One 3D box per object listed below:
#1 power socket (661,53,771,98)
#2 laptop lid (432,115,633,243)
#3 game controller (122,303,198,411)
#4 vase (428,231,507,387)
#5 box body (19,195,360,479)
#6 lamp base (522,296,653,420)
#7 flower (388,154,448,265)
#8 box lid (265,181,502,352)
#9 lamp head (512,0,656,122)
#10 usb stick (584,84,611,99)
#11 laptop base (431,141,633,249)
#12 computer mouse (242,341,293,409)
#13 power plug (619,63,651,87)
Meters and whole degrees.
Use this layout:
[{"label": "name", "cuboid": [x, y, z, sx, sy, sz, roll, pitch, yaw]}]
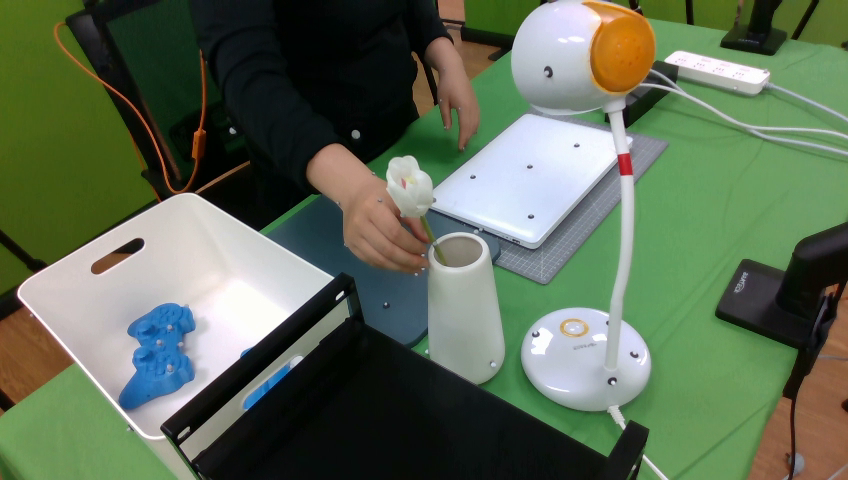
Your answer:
[{"label": "power socket", "cuboid": [0.618, -0.355, 1.291, 0.225, 0.033, 0.072, 29, 53, 35]}, {"label": "laptop lid", "cuboid": [0.190, -0.126, 1.081, 0.239, 0.013, 0.358, 23, 49, 34]}, {"label": "game controller", "cuboid": [-0.363, 0.150, 0.828, 0.097, 0.052, 0.154, -14, 42, -9]}, {"label": "vase", "cuboid": [0.051, 0.087, 0.727, 0.098, 0.201, 0.097, -3, 40, 3]}, {"label": "box body", "cuboid": [-0.287, 0.118, 0.771, 0.361, 0.161, 0.255, 26, 50, 33]}, {"label": "lamp base", "cuboid": [0.201, 0.095, 0.709, 0.161, 0.181, 0.178, -16, 43, -10]}, {"label": "flower", "cuboid": [0.026, 0.036, 0.664, 0.043, 0.364, 0.038, 36, 72, 32]}, {"label": "box lid", "cuboid": [-0.086, 0.023, 0.970, 0.368, 0.015, 0.264, 23, 50, 31]}, {"label": "lamp head", "cuboid": [0.156, -0.168, 0.563, 0.113, 0.113, 0.122, -18, 23, -12]}, {"label": "usb stick", "cuboid": [0.354, -0.306, 1.252, 0.027, 0.021, 0.058, 1, 0, -40]}, {"label": "laptop base", "cuboid": [0.193, -0.117, 1.087, 0.233, 0.023, 0.355, 21, 47, 34]}, {"label": "computer mouse", "cuboid": [-0.200, 0.178, 0.776, 0.063, 0.041, 0.116, -11, 44, -8]}, {"label": "power plug", "cuboid": [0.436, -0.341, 1.265, 0.035, 0.053, 0.072, 5, 30, -14]}]
